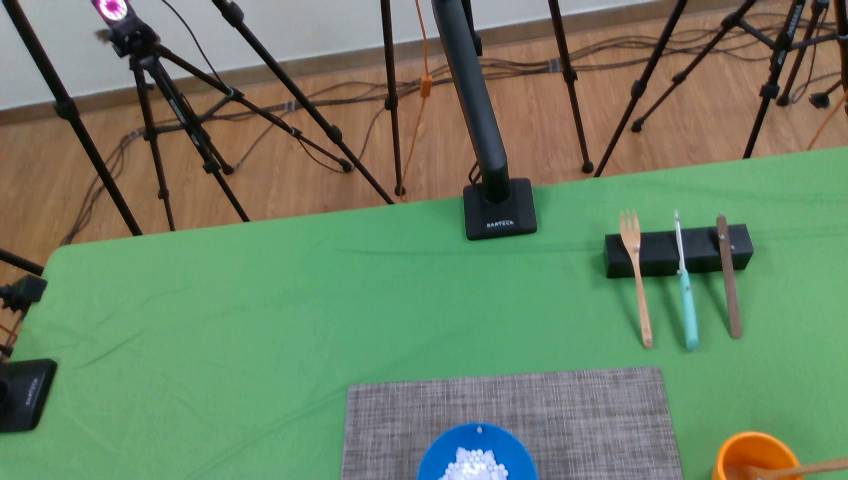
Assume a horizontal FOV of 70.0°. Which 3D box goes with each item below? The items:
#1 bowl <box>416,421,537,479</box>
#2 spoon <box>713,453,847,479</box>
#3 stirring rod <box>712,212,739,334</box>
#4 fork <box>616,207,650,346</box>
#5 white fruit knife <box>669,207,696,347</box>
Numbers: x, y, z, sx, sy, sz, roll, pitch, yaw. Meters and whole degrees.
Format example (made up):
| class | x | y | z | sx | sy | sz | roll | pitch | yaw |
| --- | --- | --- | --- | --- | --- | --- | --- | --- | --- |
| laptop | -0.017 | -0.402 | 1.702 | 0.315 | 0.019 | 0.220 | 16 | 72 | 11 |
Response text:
| class | x | y | z | sx | sy | sz | roll | pitch | yaw |
| --- | --- | --- | --- | --- | --- | --- | --- | --- | --- |
| bowl | 0.069 | 0.315 | 0.765 | 0.151 | 0.077 | 0.150 | -5 | 56 | 9 |
| spoon | 0.422 | 0.261 | 0.689 | 0.022 | 0.194 | 0.041 | 22 | 52 | -27 |
| stirring rod | 0.432 | 0.047 | 0.868 | 0.014 | 0.006 | 0.175 | -7 | 82 | 16 |
| fork | 0.309 | 0.052 | 0.888 | 0.028 | 0.019 | 0.206 | -6 | 76 | 5 |
| white fruit knife | 0.370 | 0.049 | 0.876 | 0.016 | 0.027 | 0.206 | -3 | 73 | 6 |
